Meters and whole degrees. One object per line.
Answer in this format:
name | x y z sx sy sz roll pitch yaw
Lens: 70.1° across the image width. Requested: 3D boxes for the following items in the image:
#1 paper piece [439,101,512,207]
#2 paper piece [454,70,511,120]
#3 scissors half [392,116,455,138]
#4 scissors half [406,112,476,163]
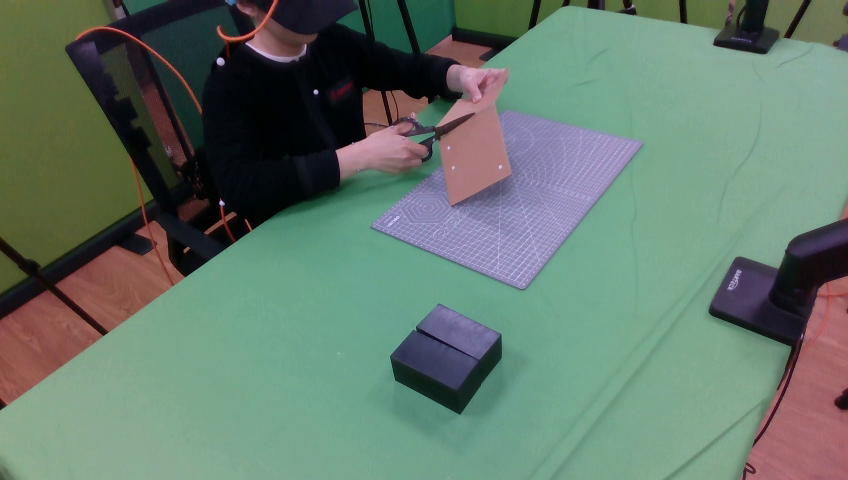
paper piece | 0.083 -0.143 1.029 0.009 0.135 0.137 6 65 -42
paper piece | 0.096 -0.246 1.100 0.135 0.004 0.135 -30 23 41
scissors half | 0.021 -0.202 1.080 0.174 0.040 0.013 4 38 21
scissors half | 0.032 -0.184 1.091 0.174 0.040 0.013 -31 25 40
